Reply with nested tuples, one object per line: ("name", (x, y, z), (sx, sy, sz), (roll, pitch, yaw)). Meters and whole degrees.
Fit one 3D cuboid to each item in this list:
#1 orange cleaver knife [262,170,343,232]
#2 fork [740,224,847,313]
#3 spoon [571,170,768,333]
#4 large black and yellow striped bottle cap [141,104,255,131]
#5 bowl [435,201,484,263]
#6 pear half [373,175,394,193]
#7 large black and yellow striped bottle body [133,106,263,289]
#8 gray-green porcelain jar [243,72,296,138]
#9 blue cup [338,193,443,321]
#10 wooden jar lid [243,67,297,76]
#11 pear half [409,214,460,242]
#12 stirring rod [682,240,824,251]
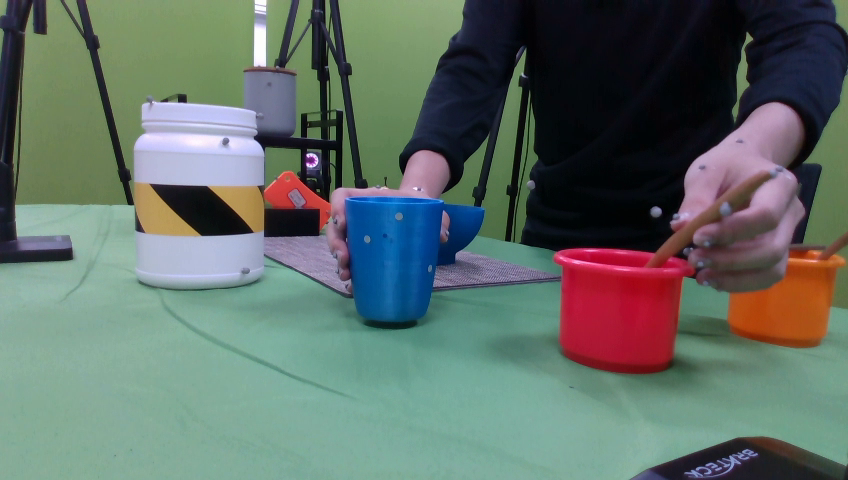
("orange cleaver knife", (-0.201, -0.056, 1.136), (0.212, 0.077, 0.012), (31, -4, -31))
("fork", (0.323, 0.013, 0.485), (0.028, 0.018, 0.207), (9, -37, -5))
("spoon", (0.159, 0.017, 0.415), (0.042, 0.193, 0.021), (2, 50, -22))
("large black and yellow striped bottle cap", (-0.241, -0.131, 0.650), (0.115, 0.019, 0.115), (4, 8, 0))
("bowl", (0.008, -0.012, 0.842), (0.151, 0.077, 0.151), (2, 8, 0))
("pear half", (-0.064, -0.061, 1.077), (0.055, 0.110, 0.077), (9, 14, 39))
("large black and yellow striped bottle body", (-0.243, -0.048, 0.659), (0.131, 0.184, 0.130), (2, 7, 0))
("gray-green porcelain jar", (-0.322, -0.279, 1.263), (0.106, 0.126, 0.106), (3, 8, 0))
("blue cup", (-0.028, 0.013, 0.516), (0.093, 0.100, 0.092), (2, 9, 0))
("wooden jar lid", (-0.319, -0.342, 1.254), (0.108, 0.020, 0.108), (3, 8, 0))
("pear half", (0.012, -0.020, 0.848), (0.070, 0.031, 0.088), (3, 11, 33))
("stirring rod", (0.290, 0.005, 0.525), (0.177, 0.006, 0.014), (-1, 5, -26))
